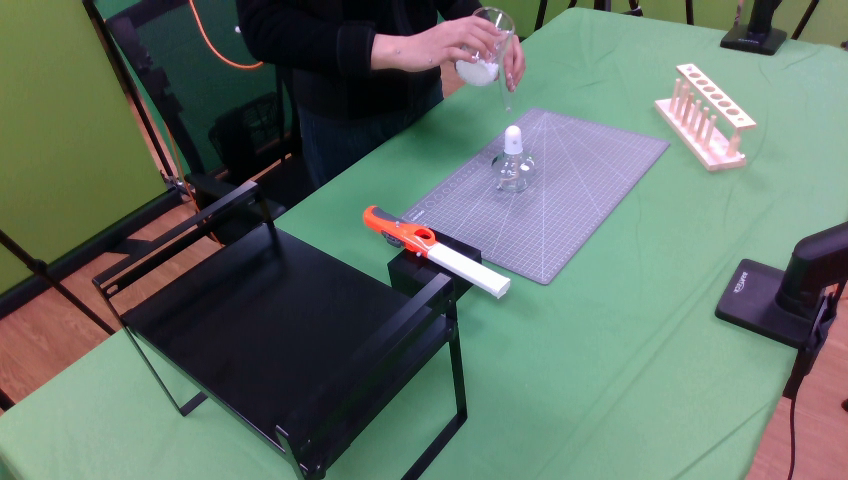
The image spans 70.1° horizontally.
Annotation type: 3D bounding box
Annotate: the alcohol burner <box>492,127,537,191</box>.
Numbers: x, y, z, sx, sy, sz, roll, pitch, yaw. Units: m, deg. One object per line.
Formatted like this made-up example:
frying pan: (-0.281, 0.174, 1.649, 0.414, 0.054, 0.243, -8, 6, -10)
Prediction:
alcohol burner: (0.156, -0.146, 1.046, 0.078, 0.119, 0.077, -4, 43, 4)

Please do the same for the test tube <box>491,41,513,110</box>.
test tube: (0.140, -0.289, 1.076, 0.017, 0.151, 0.017, -9, 54, 13)

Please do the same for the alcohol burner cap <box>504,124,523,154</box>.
alcohol burner cap: (0.151, -0.173, 1.022, 0.034, 0.048, 0.033, -4, 36, 3)

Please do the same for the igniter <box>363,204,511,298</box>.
igniter: (0.007, 0.009, 0.887, 0.274, 0.025, 0.057, 29, 50, 32)

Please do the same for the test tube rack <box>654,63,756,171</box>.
test tube rack: (0.511, -0.233, 1.120, 0.067, 0.085, 0.241, -8, 41, -1)

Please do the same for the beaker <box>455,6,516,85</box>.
beaker: (0.096, -0.306, 0.966, 0.073, 0.084, 0.100, 15, 71, 19)
